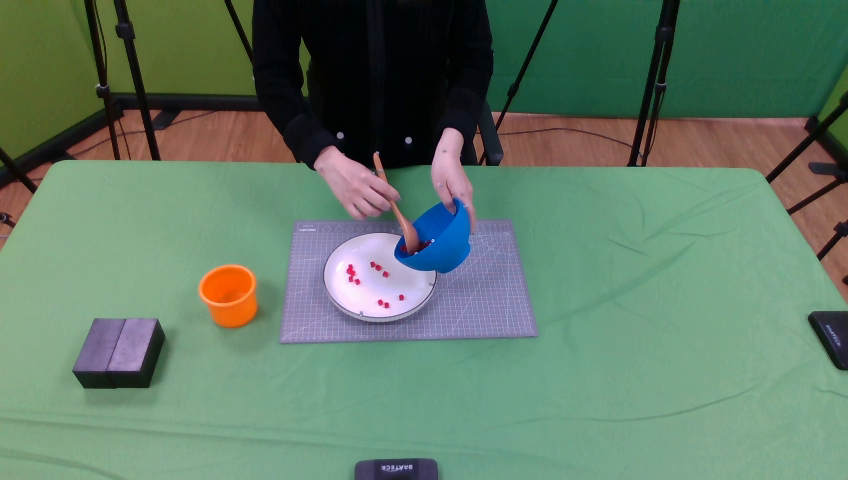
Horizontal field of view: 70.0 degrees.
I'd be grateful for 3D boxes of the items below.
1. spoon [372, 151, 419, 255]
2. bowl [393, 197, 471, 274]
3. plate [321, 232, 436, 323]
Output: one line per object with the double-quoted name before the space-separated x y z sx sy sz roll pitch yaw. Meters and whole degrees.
"spoon" -0.051 -0.061 1.034 0.021 0.194 0.041 -11 23 37
"bowl" 0.027 0.005 1.042 0.077 0.151 0.151 48 46 -19
"plate" -0.083 0.070 1.109 0.209 0.038 0.208 3 46 -2
